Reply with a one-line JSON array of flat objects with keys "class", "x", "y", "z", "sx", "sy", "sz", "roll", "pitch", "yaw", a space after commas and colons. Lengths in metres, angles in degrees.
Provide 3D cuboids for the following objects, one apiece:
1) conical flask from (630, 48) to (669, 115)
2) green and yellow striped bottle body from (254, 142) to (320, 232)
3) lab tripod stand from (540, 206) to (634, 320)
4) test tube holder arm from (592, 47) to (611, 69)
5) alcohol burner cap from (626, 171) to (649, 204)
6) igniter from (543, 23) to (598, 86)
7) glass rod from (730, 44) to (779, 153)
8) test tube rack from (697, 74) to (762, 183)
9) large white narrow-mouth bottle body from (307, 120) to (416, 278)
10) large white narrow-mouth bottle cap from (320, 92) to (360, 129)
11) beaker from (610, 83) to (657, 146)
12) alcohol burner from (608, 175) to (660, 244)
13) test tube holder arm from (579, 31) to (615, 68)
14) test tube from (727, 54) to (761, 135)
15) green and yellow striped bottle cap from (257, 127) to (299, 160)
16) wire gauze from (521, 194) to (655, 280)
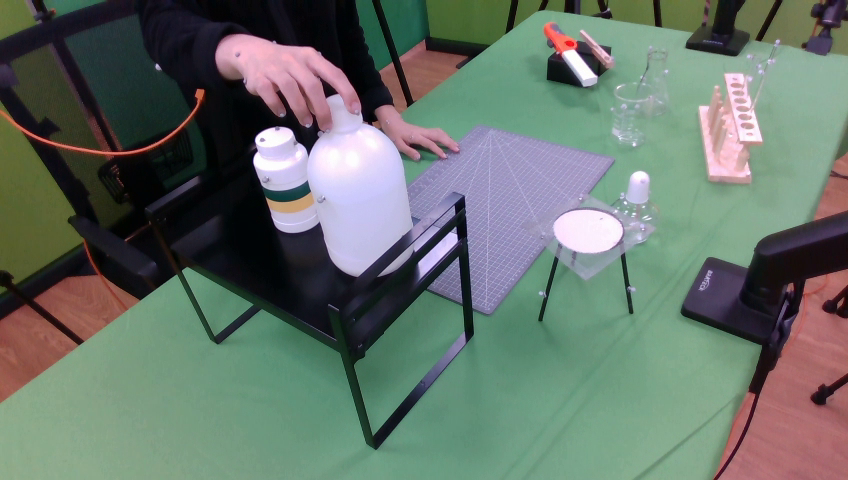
[{"class": "conical flask", "x": 0.457, "y": -0.317, "z": 1.205, "sx": 0.075, "sy": 0.122, "sz": 0.075, "roll": -4, "pitch": 41, "yaw": 4}, {"class": "green and yellow striped bottle body", "x": -0.165, "y": -0.073, "z": 0.732, "sx": 0.063, "sy": 0.120, "sz": 0.063, "roll": -4, "pitch": 41, "yaw": 4}, {"class": "lab tripod stand", "x": 0.218, "y": 0.034, "z": 0.821, "sx": 0.148, "sy": 0.132, "sz": 0.147, "roll": -4, "pitch": 42, "yaw": 4}, {"class": "test tube holder arm", "x": 0.386, "y": -0.398, "z": 1.317, "sx": 0.010, "sy": 0.015, "sz": 0.087, "roll": -11, "pitch": 41, "yaw": -2}, {"class": "alcohol burner cap", "x": 0.320, "y": -0.081, "z": 0.900, "sx": 0.034, "sy": 0.048, "sz": 0.033, "roll": -4, "pitch": 42, "yaw": 4}, {"class": "igniter", "x": 0.320, "y": -0.419, "z": 1.345, "sx": 0.057, "sy": 0.025, "sz": 0.274, "roll": -12, "pitch": 44, "yaw": -3}, {"class": "glass rod", "x": 0.555, "y": -0.234, "z": 1.021, "sx": 0.008, "sy": 0.200, "sz": 0.008, "roll": 2, "pitch": 40, "yaw": -1}, {"class": "test tube rack", "x": 0.547, "y": -0.208, "z": 1.095, "sx": 0.066, "sy": 0.085, "sz": 0.242, "roll": 5, "pitch": 42, "yaw": 15}, {"class": "large white narrow-mouth bottle body", "x": -0.070, "y": -0.059, "z": 0.644, "sx": 0.102, "sy": 0.195, "sz": 0.101, "roll": -6, "pitch": 38, "yaw": 5}, {"class": "large white narrow-mouth bottle cap", "x": -0.082, "y": -0.126, "z": 0.591, "sx": 0.038, "sy": 0.024, "sz": 0.037, "roll": -5, "pitch": 38, "yaw": 5}, {"class": "beaker", "x": 0.388, "y": -0.235, "z": 1.138, "sx": 0.074, "sy": 0.101, "sz": 0.083, "roll": -31, "pitch": 45, "yaw": -25}, {"class": "alcohol burner", "x": 0.322, "y": -0.053, "z": 0.924, "sx": 0.078, "sy": 0.119, "sz": 0.077, "roll": -4, "pitch": 43, "yaw": 4}, {"class": "test tube holder arm", "x": 0.384, "y": -0.428, "z": 1.351, "sx": 0.013, "sy": 0.015, "sz": 0.177, "roll": -11, "pitch": 41, "yaw": -3}, {"class": "test tube", "x": 0.564, "y": -0.254, "z": 1.069, "sx": 0.017, "sy": 0.151, "sz": 0.017, "roll": -1, "pitch": 40, "yaw": 1}, {"class": "green and yellow striped bottle cap", "x": -0.169, "y": -0.112, "z": 0.699, "sx": 0.045, "sy": 0.020, "sz": 0.045, "roll": -5, "pitch": 40, "yaw": 5}, {"class": "wire gauze", "x": 0.207, "y": -0.012, "z": 0.772, "sx": 0.122, "sy": 0.011, "sz": 0.124, "roll": -28, "pitch": 44, "yaw": -20}]
